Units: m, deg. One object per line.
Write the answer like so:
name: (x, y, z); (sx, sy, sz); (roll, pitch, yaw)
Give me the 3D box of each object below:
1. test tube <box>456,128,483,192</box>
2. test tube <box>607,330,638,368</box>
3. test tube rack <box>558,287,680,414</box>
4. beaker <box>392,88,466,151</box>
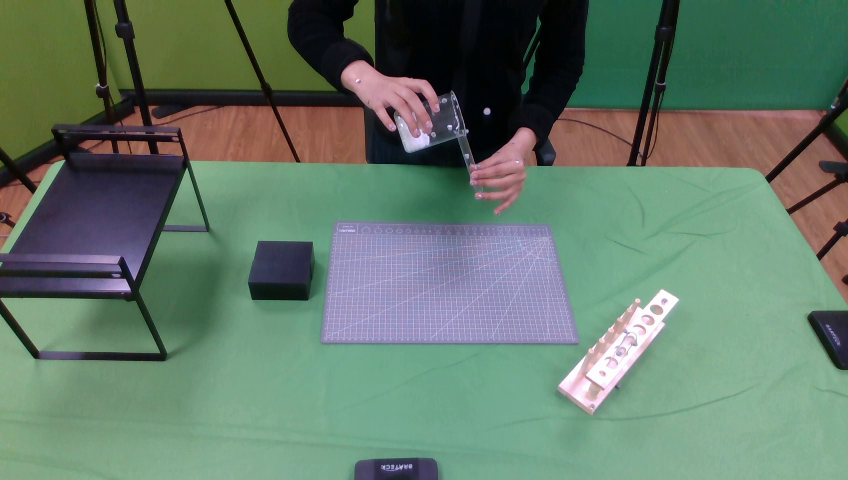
test tube: (0.080, -0.132, 1.032); (0.017, 0.151, 0.017); (-10, 51, 13)
test tube: (0.292, 0.184, 0.924); (0.017, 0.151, 0.017); (4, 48, -4)
test tube rack: (0.326, 0.170, 1.009); (0.066, 0.085, 0.242); (36, 54, 27)
beaker: (0.007, -0.183, 0.946); (0.100, 0.084, 0.073); (-18, 54, 0)
